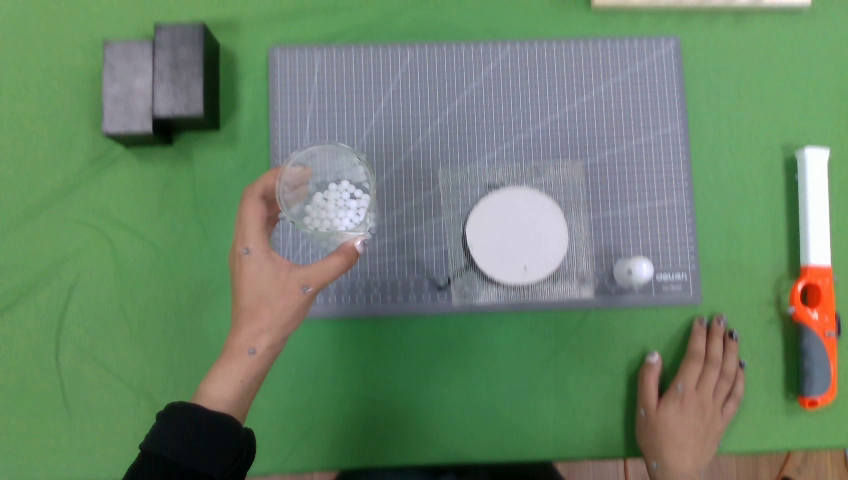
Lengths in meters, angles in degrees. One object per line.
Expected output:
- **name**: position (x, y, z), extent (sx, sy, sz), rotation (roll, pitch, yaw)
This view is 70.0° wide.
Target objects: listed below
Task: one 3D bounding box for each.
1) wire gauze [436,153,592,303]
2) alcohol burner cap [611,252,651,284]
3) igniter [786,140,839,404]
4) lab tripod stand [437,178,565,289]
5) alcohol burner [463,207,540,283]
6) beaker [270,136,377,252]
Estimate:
- **wire gauze**: position (0.076, -0.011, 0.509), extent (0.125, 0.011, 0.121), rotation (-4, 83, -2)
- **alcohol burner cap**: position (0.215, 0.028, 0.622), extent (0.034, 0.048, 0.034), rotation (0, 83, 0)
- **igniter**: position (0.407, 0.032, 0.637), extent (0.057, 0.025, 0.276), rotation (3, 85, -11)
- **lab tripod stand**: position (0.073, -0.001, 0.576), extent (0.148, 0.132, 0.148), rotation (0, 83, 1)
- **alcohol burner**: position (0.077, 0.004, 0.585), extent (0.078, 0.119, 0.077), rotation (0, 82, -2)
- **beaker**: position (-0.074, -0.030, 0.497), extent (0.074, 0.100, 0.084), rotation (-42, 83, -8)
